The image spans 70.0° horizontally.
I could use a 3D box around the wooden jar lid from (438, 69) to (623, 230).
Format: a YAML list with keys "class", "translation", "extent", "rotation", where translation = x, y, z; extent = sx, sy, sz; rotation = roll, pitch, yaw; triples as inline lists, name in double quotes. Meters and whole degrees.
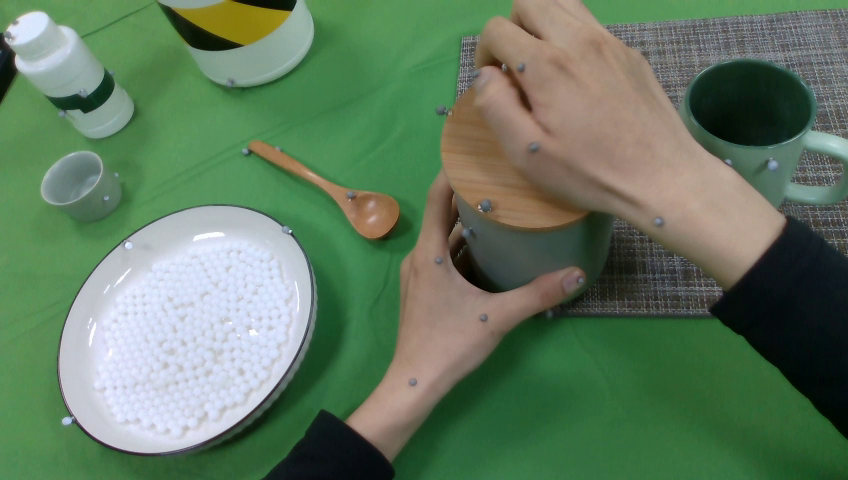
- class: "wooden jar lid"
  translation: [0.063, -0.053, 0.364]
  extent: [0.108, 0.021, 0.107]
  rotation: [-2, 69, 5]

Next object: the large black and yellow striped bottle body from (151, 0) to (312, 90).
- class: "large black and yellow striped bottle body"
  translation: [-0.199, -0.252, 0.582]
  extent: [0.130, 0.186, 0.129]
  rotation: [-5, 60, 9]

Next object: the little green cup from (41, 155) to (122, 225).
- class: "little green cup"
  translation: [-0.322, -0.045, 0.574]
  extent: [0.061, 0.039, 0.061]
  rotation: [-5, 58, 9]

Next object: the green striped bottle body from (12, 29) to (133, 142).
- class: "green striped bottle body"
  translation: [-0.349, -0.157, 0.596]
  extent: [0.063, 0.120, 0.062]
  rotation: [-5, 59, 9]

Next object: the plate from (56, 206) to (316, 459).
- class: "plate"
  translation: [-0.182, 0.069, 0.481]
  extent: [0.209, 0.038, 0.207]
  rotation: [-5, 59, 8]

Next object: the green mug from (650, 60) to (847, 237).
- class: "green mug"
  translation: [0.230, -0.057, 0.428]
  extent: [0.124, 0.106, 0.092]
  rotation: [19, 65, 20]

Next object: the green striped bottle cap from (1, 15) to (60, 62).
- class: "green striped bottle cap"
  translation: [-0.358, -0.183, 0.552]
  extent: [0.044, 0.020, 0.044]
  rotation: [-3, 61, 6]

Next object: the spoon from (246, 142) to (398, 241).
- class: "spoon"
  translation: [-0.097, -0.052, 0.542]
  extent: [0.192, 0.022, 0.041]
  rotation: [31, 88, 25]

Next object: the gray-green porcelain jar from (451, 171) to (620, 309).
- class: "gray-green porcelain jar"
  translation: [0.077, -0.018, 0.423]
  extent: [0.106, 0.128, 0.105]
  rotation: [-5, 59, 8]
